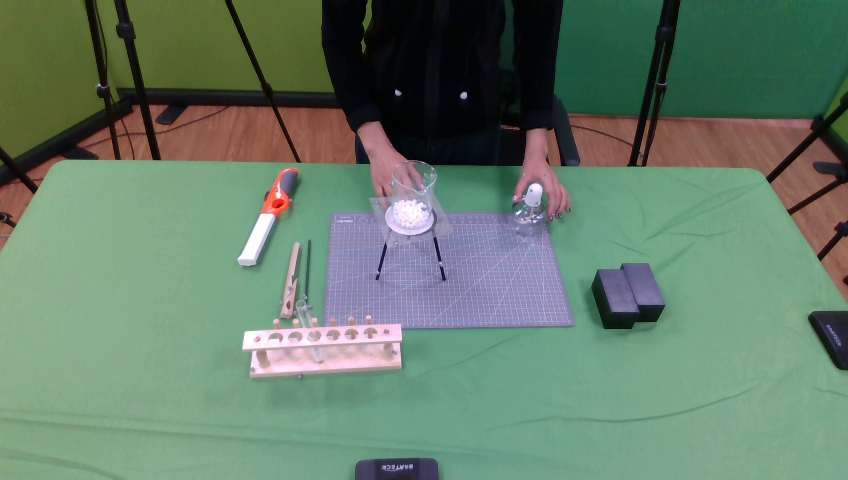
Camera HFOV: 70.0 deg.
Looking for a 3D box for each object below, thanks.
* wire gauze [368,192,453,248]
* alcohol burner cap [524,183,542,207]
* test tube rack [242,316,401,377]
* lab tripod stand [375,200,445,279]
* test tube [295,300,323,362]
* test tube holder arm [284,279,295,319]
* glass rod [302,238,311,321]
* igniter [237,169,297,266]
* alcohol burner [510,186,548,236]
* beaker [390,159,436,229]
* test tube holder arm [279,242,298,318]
[{"bbox_3d":[-0.025,-0.041,1.065,0.122,0.011,0.124,-10,46,-18],"label":"wire gauze"},{"bbox_3d":[0.216,-0.090,1.186,0.034,0.048,0.033,1,55,-2],"label":"alcohol burner cap"},{"bbox_3d":[-0.161,0.166,0.983,0.242,0.085,0.066,-2,46,-6],"label":"test tube rack"},{"bbox_3d":[-0.023,0.003,1.113,0.148,0.132,0.147,4,45,-3],"label":"lab tripod stand"},{"bbox_3d":[-0.176,0.143,0.935,0.017,0.151,0.017,-2,46,2],"label":"test tube"},{"bbox_3d":[-0.241,0.103,1.085,0.010,0.015,0.087,25,39,-26],"label":"test tube holder arm"},{"bbox_3d":[-0.217,0.069,1.125,0.008,0.008,0.198,-1,47,-5],"label":"glass rod"},{"bbox_3d":[-0.313,-0.055,1.224,0.057,0.025,0.275,1,45,10],"label":"igniter"},{"bbox_3d":[0.214,-0.066,1.214,0.078,0.119,0.077,2,48,-2],"label":"alcohol burner"},{"bbox_3d":[-0.020,-0.073,1.029,0.074,0.101,0.083,-10,48,-16],"label":"beaker"},{"bbox_3d":[-0.248,0.069,1.114,0.013,0.015,0.177,25,38,-26],"label":"test tube holder arm"}]
